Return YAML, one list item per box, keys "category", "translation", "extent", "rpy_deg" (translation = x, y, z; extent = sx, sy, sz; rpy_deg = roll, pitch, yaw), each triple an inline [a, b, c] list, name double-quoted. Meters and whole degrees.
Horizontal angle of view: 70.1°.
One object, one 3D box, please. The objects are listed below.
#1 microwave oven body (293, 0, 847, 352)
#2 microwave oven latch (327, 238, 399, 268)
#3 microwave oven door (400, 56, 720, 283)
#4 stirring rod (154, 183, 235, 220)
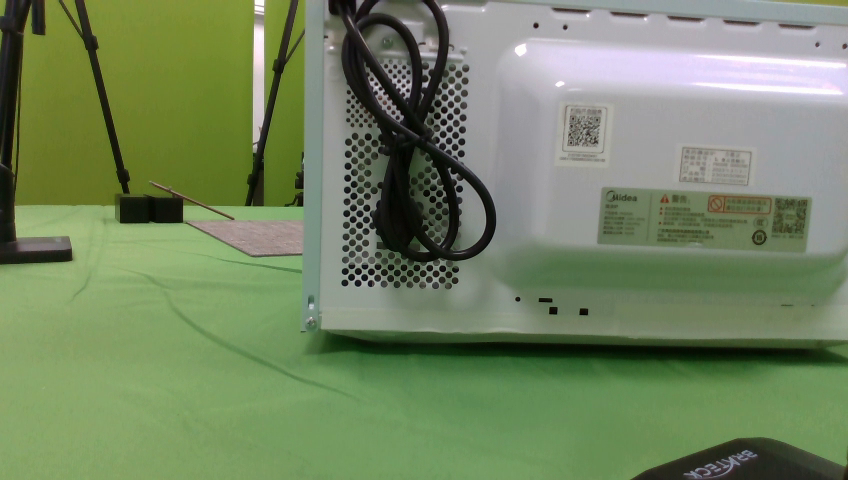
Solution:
- category: "microwave oven body"
  translation: [0.122, -0.055, 0.550]
  extent: [0.442, 0.260, 0.325]
  rpy_deg: [3, 7, -5]
- category: "microwave oven latch"
  translation: [-0.069, 0.015, 0.694]
  extent: [0.079, 0.029, 0.030]
  rpy_deg: [3, 7, -3]
- category: "microwave oven door"
  translation: [0.155, -0.077, 0.698]
  extent: [0.356, 0.243, 0.039]
  rpy_deg: [2, 8, -4]
- category: "stirring rod"
  translation: [-0.472, -0.079, 1.252]
  extent: [0.177, 0.006, 0.014]
  rpy_deg: [27, 4, -35]
